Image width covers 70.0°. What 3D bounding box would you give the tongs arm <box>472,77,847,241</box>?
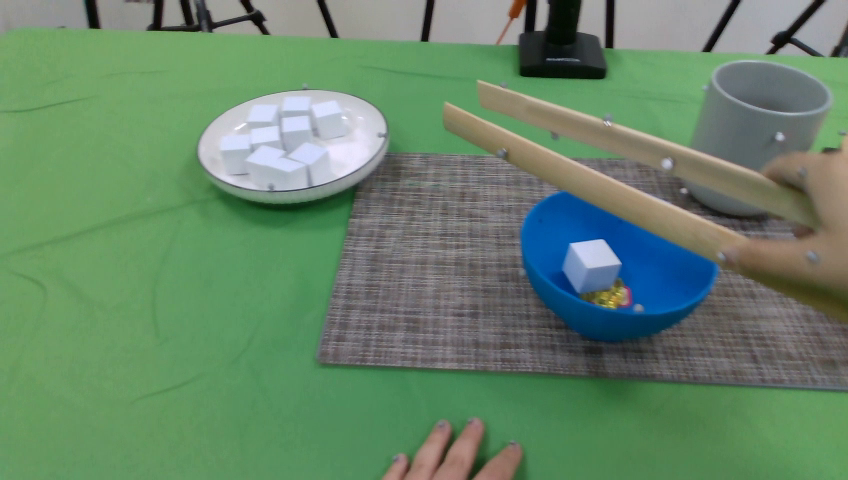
[{"bbox_3d":[0.170,-0.036,0.385,0.381,0.027,0.050,28,53,32],"label":"tongs arm"}]

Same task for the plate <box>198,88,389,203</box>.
[{"bbox_3d":[-0.142,-0.105,0.679,0.209,0.038,0.207,-1,43,1],"label":"plate"}]

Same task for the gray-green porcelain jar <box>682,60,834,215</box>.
[{"bbox_3d":[0.321,-0.097,0.602,0.106,0.127,0.105,0,43,0],"label":"gray-green porcelain jar"}]

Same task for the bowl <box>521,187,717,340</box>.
[{"bbox_3d":[0.151,0.029,0.501,0.151,0.077,0.150,0,42,0],"label":"bowl"}]

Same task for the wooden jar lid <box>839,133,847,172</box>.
[{"bbox_3d":[0.460,-0.073,0.586,0.108,0.021,0.107,-1,42,1],"label":"wooden jar lid"}]

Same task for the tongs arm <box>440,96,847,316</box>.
[{"bbox_3d":[0.151,-0.021,0.373,0.384,0.028,0.028,31,52,34],"label":"tongs arm"}]
